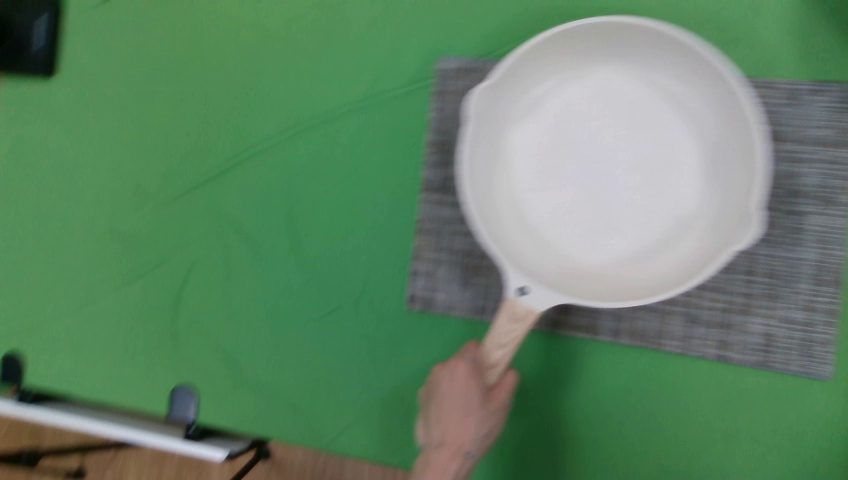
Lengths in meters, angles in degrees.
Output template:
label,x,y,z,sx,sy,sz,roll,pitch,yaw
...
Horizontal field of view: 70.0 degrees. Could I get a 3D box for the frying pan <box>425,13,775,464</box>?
label,x,y,z,sx,sy,sz,roll,pitch,yaw
frying pan,0.134,0.010,0.615,0.305,0.103,0.487,31,87,18
